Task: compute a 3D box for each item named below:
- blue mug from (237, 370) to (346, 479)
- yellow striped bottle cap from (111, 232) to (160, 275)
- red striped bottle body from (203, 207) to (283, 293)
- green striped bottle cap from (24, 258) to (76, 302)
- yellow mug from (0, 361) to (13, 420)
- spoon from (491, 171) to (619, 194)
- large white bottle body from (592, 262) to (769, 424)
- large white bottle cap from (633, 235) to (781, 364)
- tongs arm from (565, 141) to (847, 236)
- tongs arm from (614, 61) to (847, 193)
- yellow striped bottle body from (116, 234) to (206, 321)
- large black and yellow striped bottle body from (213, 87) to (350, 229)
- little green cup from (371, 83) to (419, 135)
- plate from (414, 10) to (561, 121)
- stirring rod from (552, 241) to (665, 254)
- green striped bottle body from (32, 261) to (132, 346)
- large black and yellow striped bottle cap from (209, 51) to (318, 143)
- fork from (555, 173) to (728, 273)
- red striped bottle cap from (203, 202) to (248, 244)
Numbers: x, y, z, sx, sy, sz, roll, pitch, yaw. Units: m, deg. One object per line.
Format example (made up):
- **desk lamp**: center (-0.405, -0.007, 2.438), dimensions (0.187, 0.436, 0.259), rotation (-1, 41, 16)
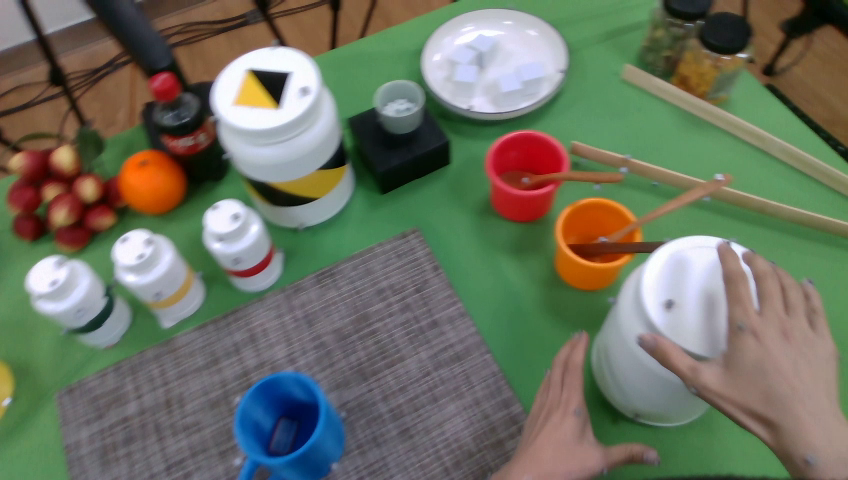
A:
- **blue mug**: center (-0.134, 0.195, 0.583), dimensions (0.082, 0.107, 0.116), rotation (26, 65, 18)
- **yellow striped bottle cap**: center (-0.302, 0.014, 0.633), dimensions (0.044, 0.019, 0.044), rotation (0, 55, 1)
- **red striped bottle body**: center (-0.208, 0.008, 0.692), dimensions (0.063, 0.121, 0.062), rotation (-3, 59, 5)
- **green striped bottle cap**: center (-0.384, 0.041, 0.622), dimensions (0.044, 0.020, 0.044), rotation (-1, 58, 2)
- **yellow mug**: center (-0.508, 0.176, 0.643), dimensions (0.100, 0.064, 0.129), rotation (-16, 61, -6)
- **spoon**: center (0.145, -0.070, 0.703), dimensions (0.041, 0.192, 0.022), rotation (-42, 111, -23)
- **large white bottle body**: center (0.241, 0.091, 0.579), dimensions (0.130, 0.186, 0.129), rotation (-2, 59, 3)
- **large white bottle cap**: center (0.235, 0.047, 0.506), dimensions (0.115, 0.018, 0.114), rotation (-1, 59, 3)
- **tongs arm**: center (0.368, -0.072, 0.753), dimensions (0.383, 0.027, 0.050), rotation (21, 60, 14)
- **tongs arm**: center (0.415, -0.138, 0.791), dimensions (0.384, 0.028, 0.028), rotation (36, 61, 21)
- **yellow striped bottle body**: center (-0.297, 0.039, 0.679), dimensions (0.063, 0.121, 0.062), rotation (-2, 59, 4)
- **large black and yellow striped bottle body**: center (-0.167, -0.111, 0.722), dimensions (0.131, 0.185, 0.129), rotation (-1, 60, 3)
- **little green cup**: center (-0.036, -0.165, 0.771), dimensions (0.061, 0.039, 0.061), rotation (-1, 57, 2)
- **plate**: center (0.090, -0.247, 0.870), dimensions (0.209, 0.038, 0.207), rotation (-1, 60, 2)
- **stirring rod**: center (0.210, 0.008, 0.656), dimensions (0.175, 0.006, 0.014), rotation (-3, 41, 52)
- **green striped bottle body**: center (-0.380, 0.067, 0.668), dimensions (0.063, 0.120, 0.062), rotation (-1, 59, 3)
- **large black and yellow striped bottle cap**: center (-0.171, -0.154, 0.647), dimensions (0.115, 0.019, 0.114), rotation (-2, 62, 5)
- **fork**: center (0.231, -0.016, 0.663), dimensions (0.207, 0.019, 0.028), rotation (-36, 50, 35)
- **red striped bottle cap**: center (-0.212, -0.019, 0.647), dimensions (0.044, 0.018, 0.044), rotation (0, 57, 0)
